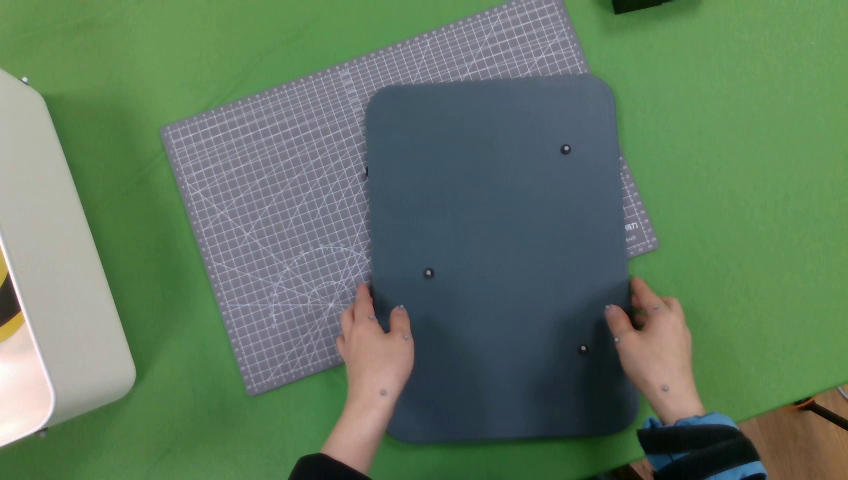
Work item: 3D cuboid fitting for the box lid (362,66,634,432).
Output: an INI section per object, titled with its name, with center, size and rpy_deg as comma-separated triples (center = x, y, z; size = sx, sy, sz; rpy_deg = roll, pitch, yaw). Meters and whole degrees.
[box lid]
center = 0.073, 0.004, 0.623
size = 0.263, 0.015, 0.370
rpy_deg = -3, 86, 0

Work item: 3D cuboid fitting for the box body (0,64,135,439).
[box body]
center = -0.463, 0.021, 0.560
size = 0.254, 0.160, 0.363
rpy_deg = -22, 86, -1

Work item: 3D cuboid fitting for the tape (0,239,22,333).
[tape]
center = -0.465, 0.046, 0.607
size = 0.117, 0.053, 0.116
rpy_deg = 0, 87, 1
